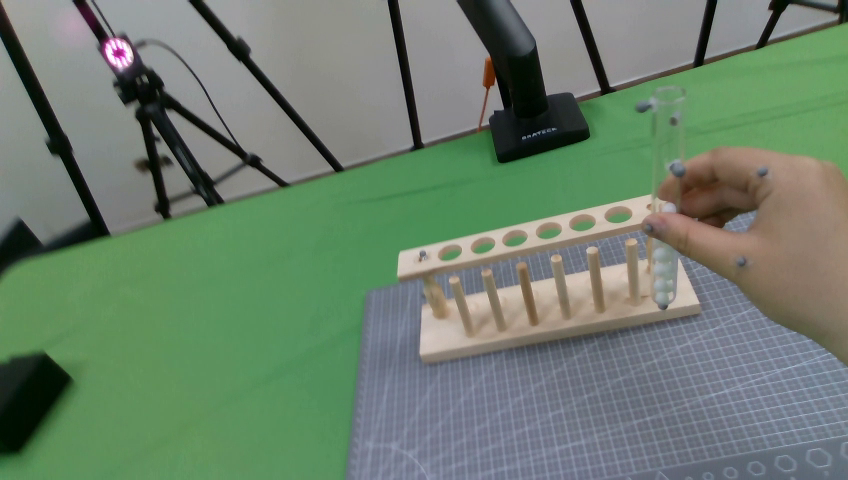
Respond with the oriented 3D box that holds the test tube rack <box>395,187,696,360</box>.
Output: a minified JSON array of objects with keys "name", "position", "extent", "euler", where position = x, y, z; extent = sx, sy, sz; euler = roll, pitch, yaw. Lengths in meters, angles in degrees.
[{"name":"test tube rack","position":[0.102,0.033,0.531],"extent":[0.242,0.086,0.066],"euler":[-13,38,12]}]

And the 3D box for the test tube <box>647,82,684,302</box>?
[{"name":"test tube","position":[0.132,-0.018,0.335],"extent":[0.017,0.152,0.017],"euler":[-10,42,9]}]
